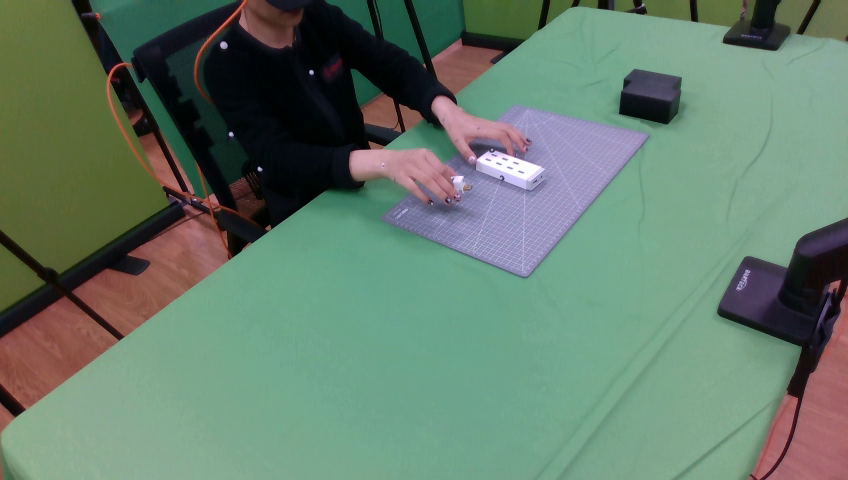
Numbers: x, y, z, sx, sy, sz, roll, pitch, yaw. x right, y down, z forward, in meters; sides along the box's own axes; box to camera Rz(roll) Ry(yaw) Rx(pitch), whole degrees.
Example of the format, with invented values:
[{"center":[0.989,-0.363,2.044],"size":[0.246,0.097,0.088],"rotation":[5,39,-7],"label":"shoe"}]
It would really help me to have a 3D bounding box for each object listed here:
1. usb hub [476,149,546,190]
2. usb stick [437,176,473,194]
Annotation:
[{"center":[0.157,-0.129,1.098],"size":[0.124,0.025,0.050],"rotation":[27,51,35],"label":"usb hub"},{"center":[0.054,-0.094,1.035],"size":[0.059,0.027,0.021],"rotation":[1,37,21],"label":"usb stick"}]
